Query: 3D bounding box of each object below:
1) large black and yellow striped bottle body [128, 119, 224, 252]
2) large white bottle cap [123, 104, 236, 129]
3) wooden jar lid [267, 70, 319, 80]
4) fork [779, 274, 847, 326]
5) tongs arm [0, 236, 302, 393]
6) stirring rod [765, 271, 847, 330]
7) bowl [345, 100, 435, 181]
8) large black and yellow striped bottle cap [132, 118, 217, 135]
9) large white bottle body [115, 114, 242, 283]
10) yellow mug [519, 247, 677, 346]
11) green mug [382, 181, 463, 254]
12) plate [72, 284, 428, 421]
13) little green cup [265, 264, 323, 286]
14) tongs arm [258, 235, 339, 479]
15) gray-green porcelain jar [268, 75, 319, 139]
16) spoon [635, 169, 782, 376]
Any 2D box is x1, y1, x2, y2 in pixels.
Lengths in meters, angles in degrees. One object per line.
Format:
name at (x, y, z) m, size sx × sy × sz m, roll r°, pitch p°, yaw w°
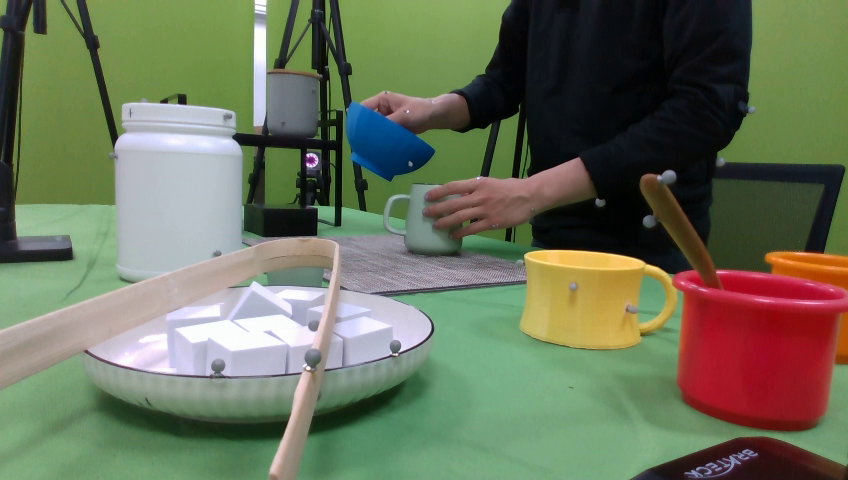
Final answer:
large black and yellow striped bottle body at (-0.361, -0.081, 0.887) m, size 0.131 × 0.184 × 0.130 m, roll 2°, pitch 8°, yaw 0°
large white bottle cap at (-0.266, -0.134, 0.663) m, size 0.115 × 0.018 × 0.115 m, roll 3°, pitch 7°, yaw 0°
wooden jar lid at (-0.275, -0.339, 1.271) m, size 0.108 × 0.020 × 0.108 m, roll 5°, pitch 6°, yaw 0°
fork at (0.332, 0.019, 0.443) m, size 0.028 × 0.018 × 0.207 m, roll -3°, pitch -35°, yaw -16°
tongs arm at (-0.157, 0.038, 0.347) m, size 0.028 × 0.028 × 0.388 m, roll -3°, pitch 8°, yaw 11°
stirring rod at (0.352, 0.020, 0.481) m, size 0.176 × 0.006 × 0.014 m, roll -40°, pitch -8°, yaw 17°
bowl at (-0.066, -0.143, 0.931) m, size 0.151 × 0.077 × 0.151 m, roll 30°, pitch 3°, yaw -1°
large black and yellow striped bottle cap at (-0.359, -0.164, 0.875) m, size 0.115 × 0.019 × 0.115 m, roll 2°, pitch 6°, yaw 0°
large white bottle body at (-0.270, -0.051, 0.673) m, size 0.131 × 0.184 × 0.130 m, roll 2°, pitch 8°, yaw 0°
yellow mug at (0.148, 0.045, 0.513) m, size 0.131 × 0.064 × 0.100 m, roll 3°, pitch 6°, yaw 0°
green mug at (-0.001, -0.035, 0.921) m, size 0.126 × 0.105 × 0.092 m, roll 1°, pitch 8°, yaw -16°
plate at (-0.102, 0.067, 0.381) m, size 0.208 × 0.039 × 0.207 m, roll 3°, pitch 7°, yaw 0°
little green cup at (-0.134, 0.033, 0.628) m, size 0.061 × 0.038 × 0.061 m, roll 3°, pitch 7°, yaw 0°
tongs arm at (-0.074, 0.040, 0.345) m, size 0.051 × 0.026 × 0.384 m, roll -1°, pitch 10°, yaw -3°
gray-green porcelain jar at (-0.277, -0.279, 1.280) m, size 0.106 × 0.126 × 0.106 m, roll 2°, pitch 8°, yaw 0°
spoon at (0.161, 0.026, 0.346) m, size 0.041 × 0.194 × 0.021 m, roll 10°, pitch 56°, yaw 53°
